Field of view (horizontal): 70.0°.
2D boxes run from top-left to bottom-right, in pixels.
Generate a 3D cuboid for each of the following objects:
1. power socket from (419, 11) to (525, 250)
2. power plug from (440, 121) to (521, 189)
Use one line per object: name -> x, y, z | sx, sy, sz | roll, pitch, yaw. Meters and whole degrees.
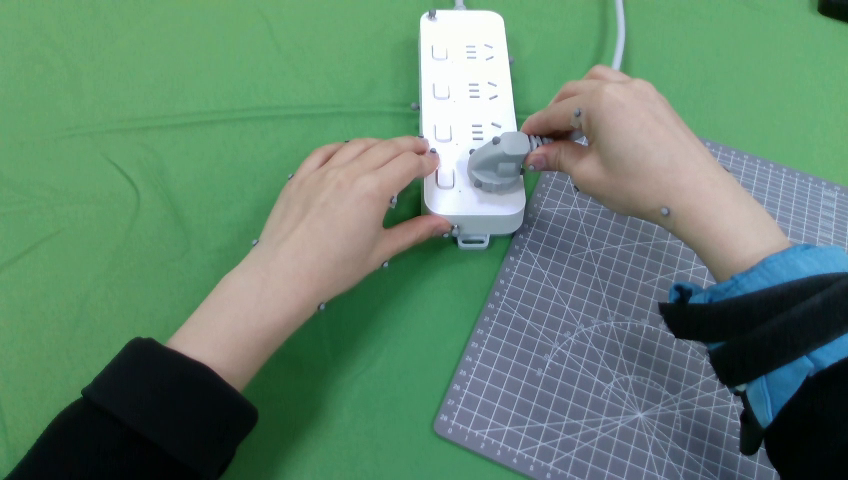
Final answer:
power socket -> 0.032, -0.096, 0.463 | 0.072, 0.033, 0.224 | 1, 58, -2
power plug -> 0.031, -0.063, 0.416 | 0.072, 0.035, 0.052 | 21, 66, 35
